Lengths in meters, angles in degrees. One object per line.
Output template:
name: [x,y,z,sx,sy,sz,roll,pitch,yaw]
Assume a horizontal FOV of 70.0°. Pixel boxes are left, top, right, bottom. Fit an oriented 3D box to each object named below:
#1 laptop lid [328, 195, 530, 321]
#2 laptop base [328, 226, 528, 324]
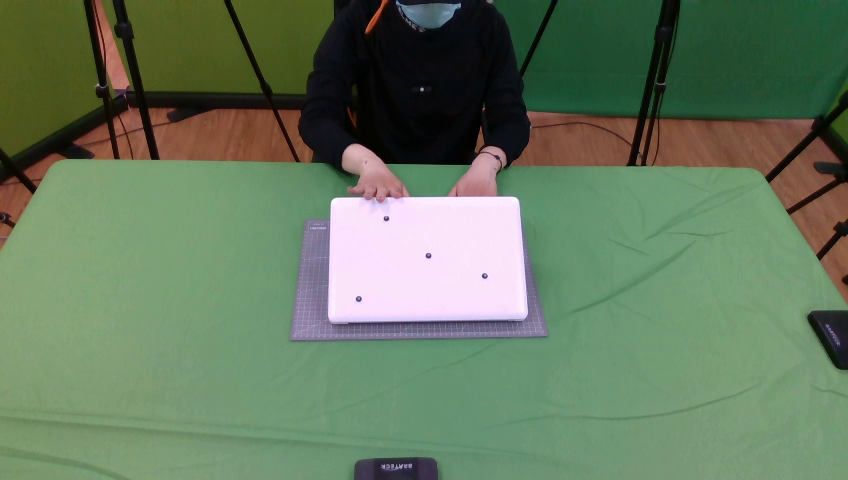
laptop lid: [0.008,0.027,1.082,0.357,0.013,0.240,1,71,-3]
laptop base: [0.005,0.061,1.137,0.355,0.023,0.234,0,43,-4]
